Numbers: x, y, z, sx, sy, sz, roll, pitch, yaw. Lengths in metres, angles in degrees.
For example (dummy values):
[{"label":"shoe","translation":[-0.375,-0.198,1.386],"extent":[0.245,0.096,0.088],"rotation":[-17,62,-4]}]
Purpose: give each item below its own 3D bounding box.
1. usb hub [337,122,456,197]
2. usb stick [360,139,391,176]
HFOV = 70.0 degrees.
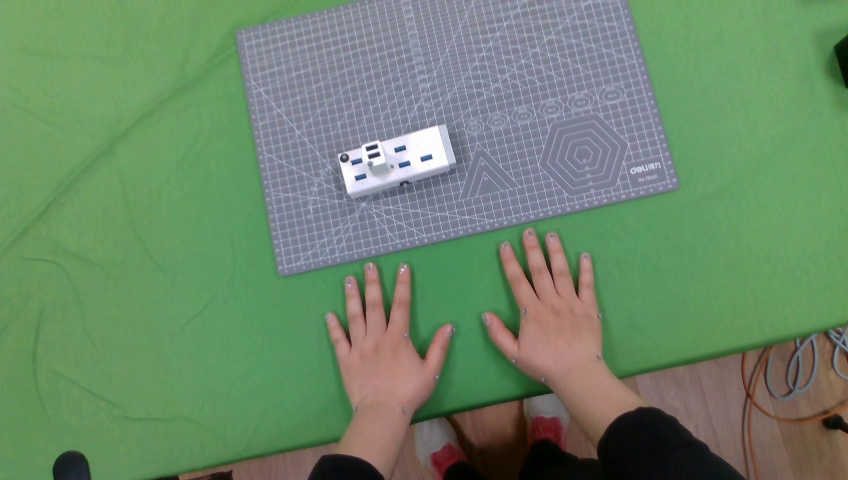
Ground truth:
[{"label":"usb hub","translation":[-0.031,-0.090,0.672],"extent":[0.125,0.025,0.049],"rotation":[-16,80,2]},{"label":"usb stick","translation":[-0.050,-0.085,0.644],"extent":[0.021,0.059,0.027],"rotation":[-19,78,3]}]
